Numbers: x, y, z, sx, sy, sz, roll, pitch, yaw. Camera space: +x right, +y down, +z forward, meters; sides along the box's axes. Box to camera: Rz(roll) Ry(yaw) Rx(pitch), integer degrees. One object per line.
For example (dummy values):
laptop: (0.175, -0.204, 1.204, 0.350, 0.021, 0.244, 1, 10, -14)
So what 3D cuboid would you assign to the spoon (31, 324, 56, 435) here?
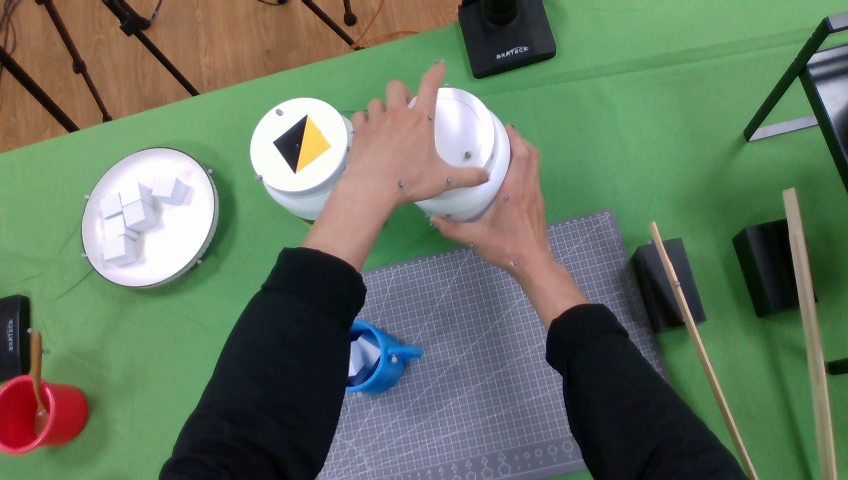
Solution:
spoon: (-0.493, 0.182, 0.777, 0.041, 0.021, 0.195, 32, 127, 19)

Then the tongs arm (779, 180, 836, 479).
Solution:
tongs arm: (0.413, 0.127, 0.657, 0.028, 0.028, 0.386, -5, 87, 0)

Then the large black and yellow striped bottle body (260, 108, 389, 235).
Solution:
large black and yellow striped bottle body: (-0.126, -0.090, 0.762, 0.130, 0.185, 0.130, -2, 75, 9)

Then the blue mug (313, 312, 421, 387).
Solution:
blue mug: (-0.061, 0.133, 0.733, 0.116, 0.106, 0.082, -7, 74, 8)

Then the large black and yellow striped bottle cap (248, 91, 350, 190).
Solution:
large black and yellow striped bottle cap: (-0.141, -0.113, 0.682, 0.115, 0.019, 0.114, -2, 76, 8)

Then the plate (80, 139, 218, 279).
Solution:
plate: (-0.389, -0.043, 0.872, 0.207, 0.039, 0.206, -2, 76, 9)

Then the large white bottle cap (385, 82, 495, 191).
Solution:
large white bottle cap: (0.015, -0.106, 0.618, 0.114, 0.018, 0.114, -4, 78, 16)

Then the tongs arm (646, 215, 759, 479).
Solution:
tongs arm: (0.333, 0.147, 0.663, 0.051, 0.026, 0.384, -18, 85, 2)

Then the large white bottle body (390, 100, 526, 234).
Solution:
large white bottle body: (0.041, -0.088, 0.696, 0.130, 0.186, 0.130, -4, 77, 16)
